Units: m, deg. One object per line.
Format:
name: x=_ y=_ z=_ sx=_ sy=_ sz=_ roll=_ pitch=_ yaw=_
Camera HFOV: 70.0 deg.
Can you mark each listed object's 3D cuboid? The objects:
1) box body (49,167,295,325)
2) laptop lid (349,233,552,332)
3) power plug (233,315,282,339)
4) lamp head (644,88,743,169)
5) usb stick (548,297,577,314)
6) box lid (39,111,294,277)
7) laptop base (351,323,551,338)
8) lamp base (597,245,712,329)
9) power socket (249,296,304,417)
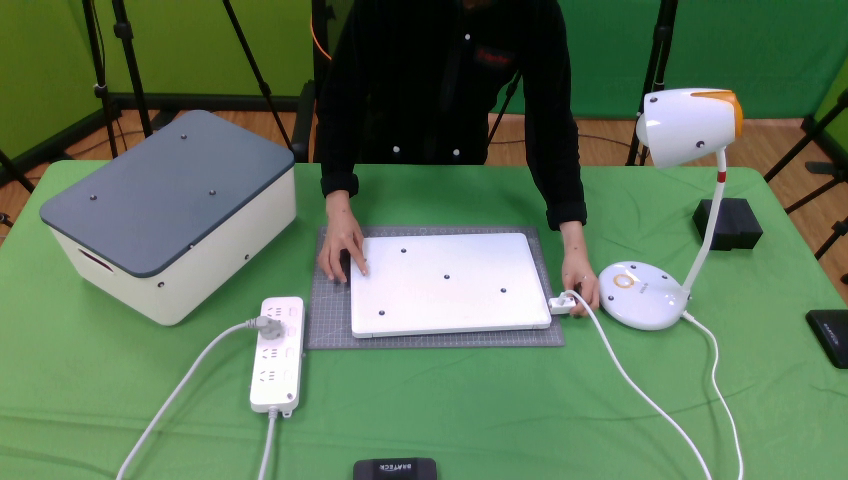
box body: x=-0.437 y=-0.046 z=1.110 sx=0.253 sy=0.161 sz=0.363 roll=24 pitch=49 yaw=19
laptop lid: x=0.040 y=0.071 z=1.119 sx=0.357 sy=0.013 sz=0.240 roll=-1 pitch=44 yaw=-5
power plug: x=-0.271 y=0.144 z=0.999 sx=0.072 sy=0.053 sz=0.035 roll=6 pitch=46 yaw=3
lamp head: x=0.380 y=-0.161 z=0.851 sx=0.122 sy=0.113 sz=0.112 roll=-4 pitch=42 yaw=25
usb stick: x=0.241 y=0.118 z=1.088 sx=0.059 sy=0.027 sz=0.021 roll=-4 pitch=55 yaw=-7
box lid: x=-0.434 y=-0.097 z=1.055 sx=0.262 sy=0.015 sz=0.370 roll=25 pitch=49 yaw=18
laptop base: x=0.040 y=0.080 z=1.126 sx=0.355 sy=0.023 sz=0.234 roll=-2 pitch=43 yaw=-6
lamp base: x=0.418 y=0.051 z=1.071 sx=0.179 sy=0.181 sz=0.160 roll=22 pitch=49 yaw=13
power socket: x=-0.239 y=0.182 z=0.996 sx=0.072 sy=0.033 sz=0.225 roll=-2 pitch=47 yaw=-5
